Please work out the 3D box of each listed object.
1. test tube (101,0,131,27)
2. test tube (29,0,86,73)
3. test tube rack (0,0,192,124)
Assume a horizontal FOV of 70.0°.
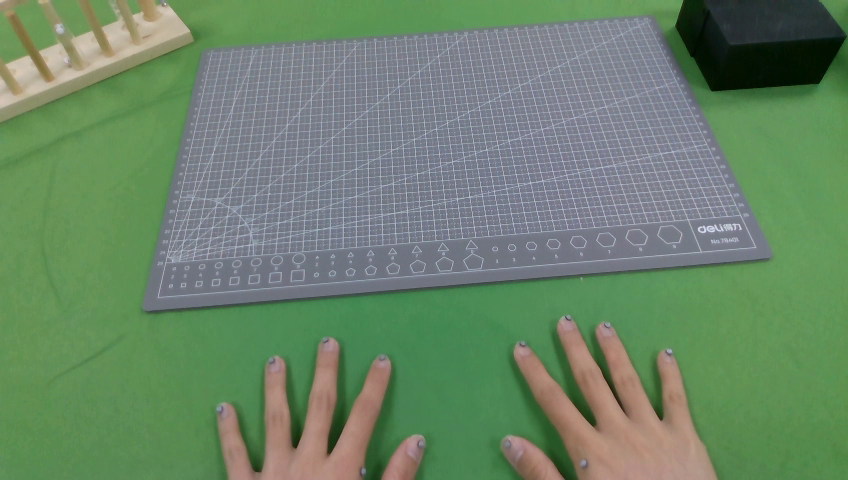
[{"bbox_3d":[-0.309,-0.259,0.547,0.017,0.152,0.017,-4,55,6],"label":"test tube"},{"bbox_3d":[-0.330,-0.208,0.517,0.017,0.152,0.017,-1,53,1],"label":"test tube"},{"bbox_3d":[-0.352,-0.185,0.556,0.242,0.086,0.066,-31,58,-19],"label":"test tube rack"}]
